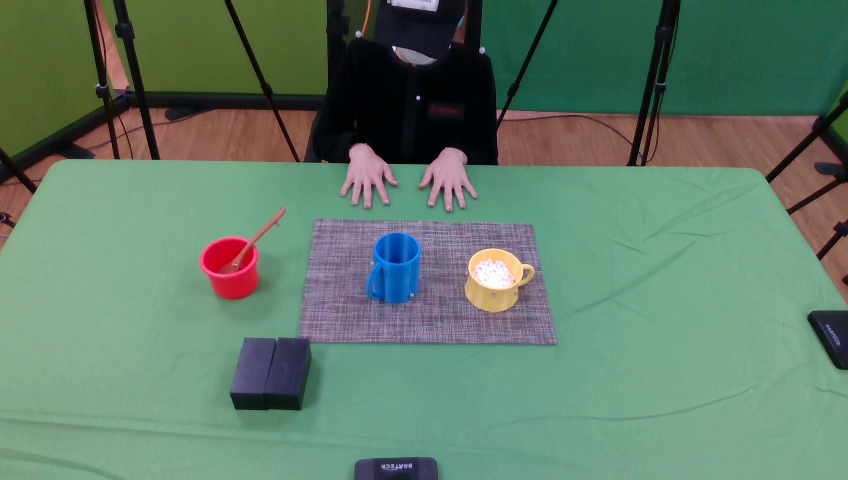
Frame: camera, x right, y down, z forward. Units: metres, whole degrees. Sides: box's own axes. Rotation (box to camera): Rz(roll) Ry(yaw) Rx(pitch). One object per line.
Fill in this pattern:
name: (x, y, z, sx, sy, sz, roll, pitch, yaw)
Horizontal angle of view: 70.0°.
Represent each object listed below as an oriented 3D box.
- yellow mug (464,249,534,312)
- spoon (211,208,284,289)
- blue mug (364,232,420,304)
yellow mug: (0.141, 0.070, 1.106, 0.131, 0.064, 0.099, -9, 47, -14)
spoon: (-0.313, 0.015, 1.076, 0.194, 0.022, 0.041, -48, 54, 12)
blue mug: (-0.062, 0.059, 1.074, 0.082, 0.106, 0.116, 35, 53, 27)
